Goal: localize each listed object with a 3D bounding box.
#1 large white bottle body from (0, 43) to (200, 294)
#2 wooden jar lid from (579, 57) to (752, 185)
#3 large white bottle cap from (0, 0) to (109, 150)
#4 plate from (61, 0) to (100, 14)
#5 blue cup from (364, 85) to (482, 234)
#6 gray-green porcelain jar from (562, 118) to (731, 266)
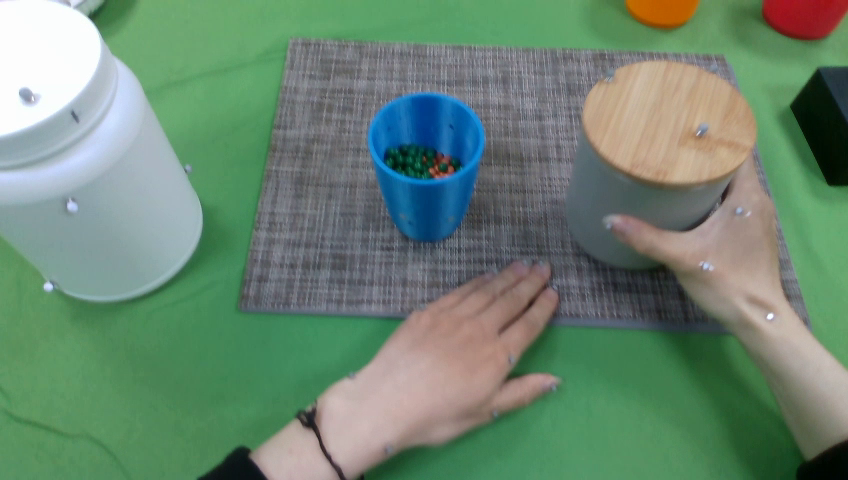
[{"bbox_3d":[-0.247,-0.056,0.423,0.131,0.186,0.129,1,60,-1],"label":"large white bottle body"},{"bbox_3d":[0.156,-0.077,0.401,0.108,0.021,0.107,-2,58,4],"label":"wooden jar lid"},{"bbox_3d":[-0.246,-0.100,0.351,0.115,0.018,0.114,1,59,-1],"label":"large white bottle cap"},{"bbox_3d":[-0.423,-0.274,0.629,0.208,0.039,0.206,1,60,-1],"label":"plate"},{"bbox_3d":[0.000,-0.054,0.476,0.092,0.101,0.092,0,60,0],"label":"blue cup"},{"bbox_3d":[0.161,-0.047,0.455,0.106,0.127,0.105,-2,61,4],"label":"gray-green porcelain jar"}]
